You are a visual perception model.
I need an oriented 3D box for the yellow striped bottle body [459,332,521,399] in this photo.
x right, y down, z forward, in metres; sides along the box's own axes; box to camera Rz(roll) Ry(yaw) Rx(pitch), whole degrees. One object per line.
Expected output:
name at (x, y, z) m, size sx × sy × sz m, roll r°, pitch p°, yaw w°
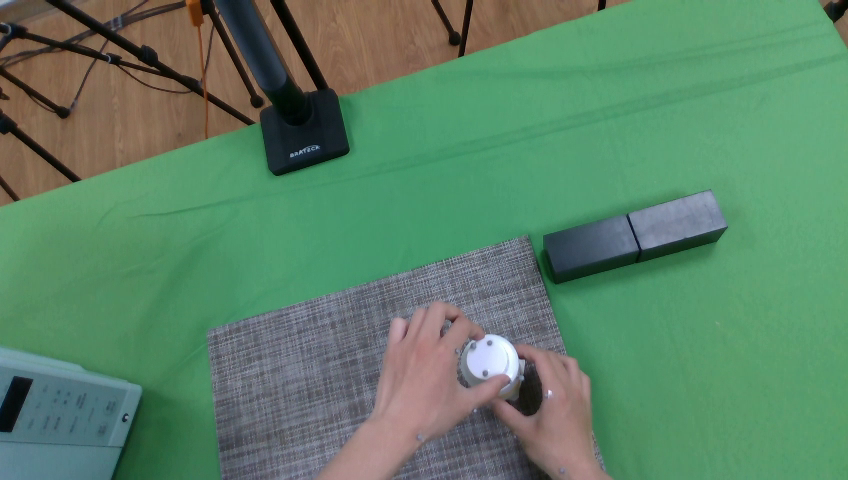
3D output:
yellow striped bottle body at (0.075, 0.140, 0.678) m, size 0.062 × 0.121 × 0.062 m, roll -4°, pitch 70°, yaw 10°

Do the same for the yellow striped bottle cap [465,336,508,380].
yellow striped bottle cap at (0.065, 0.122, 0.628) m, size 0.044 × 0.019 × 0.044 m, roll -4°, pitch 71°, yaw 11°

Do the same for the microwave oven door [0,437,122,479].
microwave oven door at (-0.462, 0.378, 0.616) m, size 0.039 × 0.246 × 0.354 m, roll 10°, pitch 73°, yaw 15°

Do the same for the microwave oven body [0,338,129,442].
microwave oven body at (-0.590, 0.317, 0.668) m, size 0.325 × 0.262 × 0.439 m, roll 10°, pitch 74°, yaw 14°

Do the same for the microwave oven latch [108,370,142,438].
microwave oven latch at (-0.389, 0.210, 0.772) m, size 0.030 × 0.030 × 0.079 m, roll 12°, pitch 74°, yaw 14°
